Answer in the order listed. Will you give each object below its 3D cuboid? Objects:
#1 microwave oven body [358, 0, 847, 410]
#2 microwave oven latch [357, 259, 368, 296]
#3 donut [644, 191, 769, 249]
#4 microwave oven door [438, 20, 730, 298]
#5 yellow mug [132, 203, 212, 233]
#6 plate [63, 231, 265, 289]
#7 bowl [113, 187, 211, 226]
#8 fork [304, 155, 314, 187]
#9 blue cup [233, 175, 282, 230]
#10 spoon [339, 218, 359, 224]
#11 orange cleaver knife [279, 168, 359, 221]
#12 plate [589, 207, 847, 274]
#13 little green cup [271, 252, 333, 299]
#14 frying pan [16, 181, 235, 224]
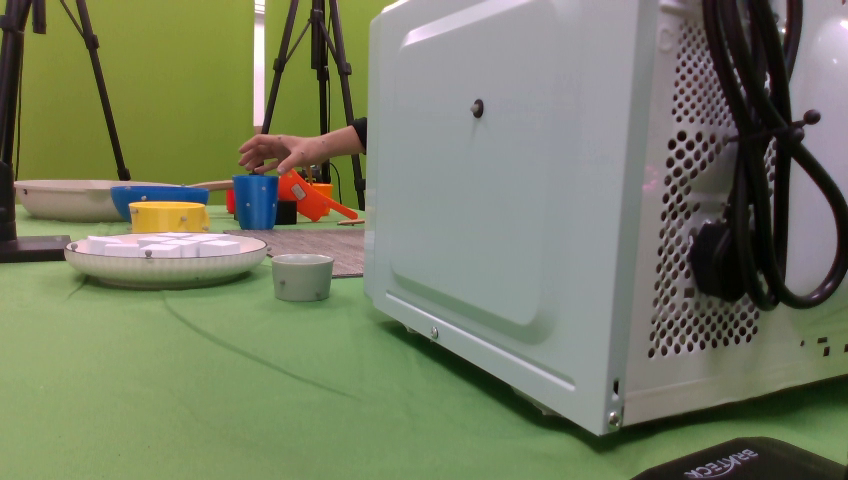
[{"bbox_3d":[0.210,-0.051,0.471,0.444,0.260,0.324,-1,7,-28],"label":"microwave oven body"},{"bbox_3d":[-0.019,0.031,0.528,0.079,0.029,0.030,-1,7,-25],"label":"microwave oven latch"},{"bbox_3d":[0.240,-0.017,0.518,0.099,0.048,0.099,2,4,0],"label":"donut"},{"bbox_3d":[0.181,-0.076,0.618,0.358,0.243,0.039,-2,8,-28],"label":"microwave oven door"},{"bbox_3d":[-0.356,-0.020,0.878,0.099,0.064,0.131,5,7,22],"label":"yellow mug"},{"bbox_3d":[-0.288,0.021,0.687,0.208,0.039,0.207,2,8,0],"label":"plate"},{"bbox_3d":[-0.436,-0.046,1.013,0.151,0.077,0.151,2,7,0],"label":"bowl"},{"bbox_3d":[-0.268,-0.134,1.446,0.028,0.018,0.207,2,-36,-1],"label":"fork"},{"bbox_3d":[-0.314,-0.071,1.141,0.093,0.100,0.092,0,7,0],"label":"blue cup"},{"bbox_3d":[-0.087,-0.041,1.268,0.193,0.021,0.041,3,20,13],"label":"spoon"},{"bbox_3d":[-0.236,-0.084,1.332,0.212,0.077,0.012,31,-9,-31],"label":"orange cleaver knife"},{"bbox_3d":[0.246,-0.002,0.510,0.209,0.038,0.209,3,6,0],"label":"plate"},{"bbox_3d":[-0.122,0.035,0.605,0.061,0.038,0.061,3,7,0],"label":"little green cup"},{"bbox_3d":[-0.553,-0.097,1.265,0.490,0.102,0.305,-10,13,-24],"label":"frying pan"}]
